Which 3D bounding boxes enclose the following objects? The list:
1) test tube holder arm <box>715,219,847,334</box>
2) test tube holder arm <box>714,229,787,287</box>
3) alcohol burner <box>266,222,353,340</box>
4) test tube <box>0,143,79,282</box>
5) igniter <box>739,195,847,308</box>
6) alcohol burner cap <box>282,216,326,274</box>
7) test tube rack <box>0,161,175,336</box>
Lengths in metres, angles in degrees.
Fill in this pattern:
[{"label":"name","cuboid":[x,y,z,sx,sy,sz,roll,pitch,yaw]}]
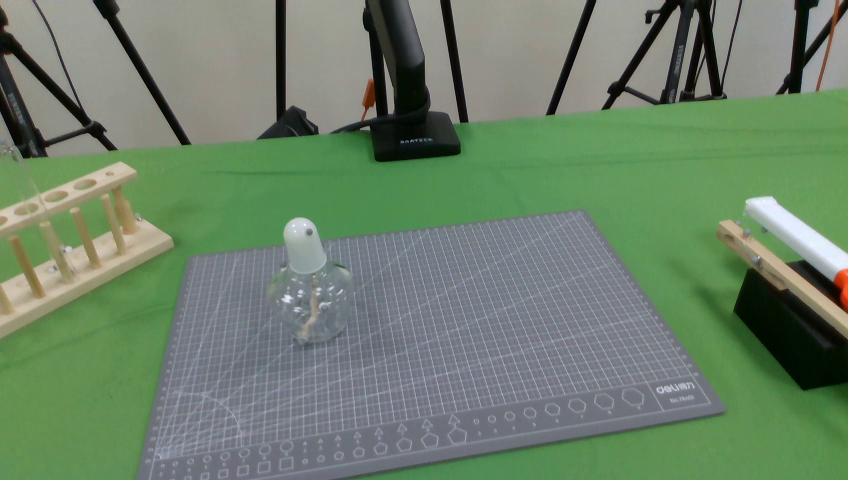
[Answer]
[{"label":"test tube holder arm","cuboid":[0.310,0.032,0.511,0.015,0.013,0.176,-17,36,-9]},{"label":"test tube holder arm","cuboid":[0.298,0.013,0.551,0.015,0.010,0.087,-16,35,-9]},{"label":"alcohol burner","cuboid":[-0.102,0.030,0.532,0.078,0.120,0.077,0,38,0]},{"label":"test tube","cuboid":[-0.356,-0.022,0.563,0.017,0.151,0.017,-1,37,1]},{"label":"igniter","cuboid":[0.363,0.035,0.509,0.057,0.025,0.273,-8,34,-8]},{"label":"alcohol burner cap","cuboid":[-0.103,0.001,0.511,0.034,0.048,0.033,-2,41,2]},{"label":"test tube rack","cuboid":[-0.379,0.015,0.590,0.066,0.086,0.242,26,44,32]}]
